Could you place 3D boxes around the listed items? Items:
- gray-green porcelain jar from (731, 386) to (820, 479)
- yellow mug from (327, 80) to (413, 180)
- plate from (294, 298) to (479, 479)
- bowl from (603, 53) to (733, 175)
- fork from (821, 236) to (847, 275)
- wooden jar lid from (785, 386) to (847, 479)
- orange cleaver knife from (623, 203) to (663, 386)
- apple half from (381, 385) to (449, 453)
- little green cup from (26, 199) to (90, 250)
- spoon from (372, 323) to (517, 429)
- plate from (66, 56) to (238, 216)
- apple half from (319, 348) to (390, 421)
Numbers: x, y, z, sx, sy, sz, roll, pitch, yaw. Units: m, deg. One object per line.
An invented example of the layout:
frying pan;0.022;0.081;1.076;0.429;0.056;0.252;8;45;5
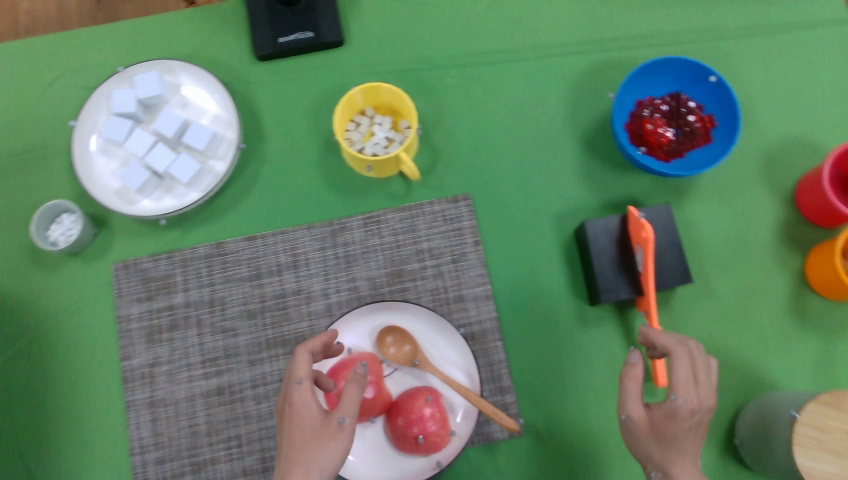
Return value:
gray-green porcelain jar;0.403;0.211;0.650;0.106;0.127;0.105;0;78;0
yellow mug;-0.056;-0.126;0.748;0.100;0.064;0.130;-40;82;-8
plate;-0.043;0.172;0.697;0.209;0.038;0.208;0;79;0
bowl;0.288;-0.143;0.747;0.151;0.077;0.150;0;79;0
fork;0.495;0.060;0.670;0.028;0.019;0.205;8;35;-2
wooden jar lid;0.402;0.197;0.590;0.108;0.021;0.108;0;81;-1
orange cleaver knife;0.251;0.063;0.702;0.012;0.077;0.212;-10;102;2
apple half;-0.011;0.204;0.684;0.081;0.033;0.081;0;75;0
little green cup;-0.441;-0.016;0.735;0.061;0.039;0.061;0;80;0
spoon;0.021;0.156;0.687;0.192;0.022;0.041;32;74;18
plate;-0.335;-0.128;0.760;0.208;0.039;0.206;0;78;0
apple half;-0.081;0.164;0.683;0.075;0.053;0.080;-15;79;0
